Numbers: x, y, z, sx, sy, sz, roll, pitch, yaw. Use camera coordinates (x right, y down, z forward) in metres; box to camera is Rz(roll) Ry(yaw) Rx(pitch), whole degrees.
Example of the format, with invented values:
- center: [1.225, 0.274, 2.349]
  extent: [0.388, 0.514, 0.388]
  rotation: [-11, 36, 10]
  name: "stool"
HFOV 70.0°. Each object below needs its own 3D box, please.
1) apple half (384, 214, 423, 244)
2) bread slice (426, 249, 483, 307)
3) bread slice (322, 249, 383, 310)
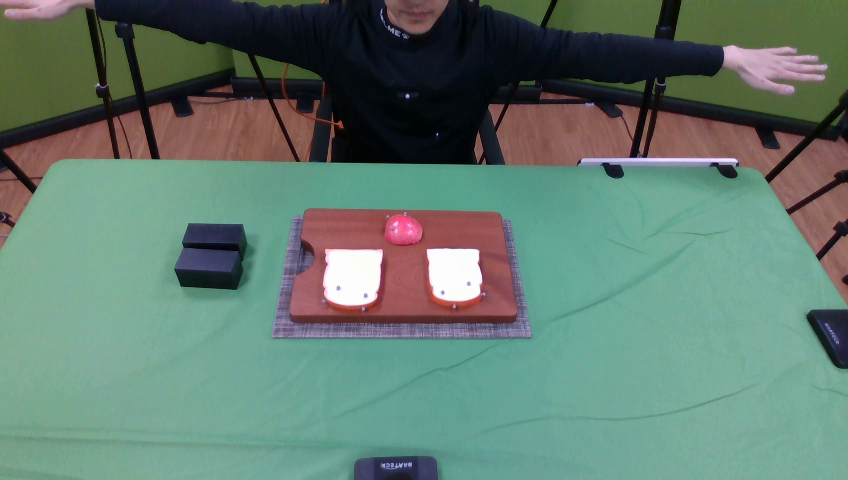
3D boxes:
- center: [-0.039, -0.028, 1.172]
  extent: [0.081, 0.033, 0.081]
  rotation: [0, 45, 0]
  name: "apple half"
- center: [0.058, 0.066, 1.100]
  extent: [0.105, 0.019, 0.130]
  rotation: [-1, 45, -3]
  name: "bread slice"
- center: [-0.127, 0.068, 1.083]
  extent: [0.107, 0.018, 0.133]
  rotation: [-1, 47, -4]
  name: "bread slice"
